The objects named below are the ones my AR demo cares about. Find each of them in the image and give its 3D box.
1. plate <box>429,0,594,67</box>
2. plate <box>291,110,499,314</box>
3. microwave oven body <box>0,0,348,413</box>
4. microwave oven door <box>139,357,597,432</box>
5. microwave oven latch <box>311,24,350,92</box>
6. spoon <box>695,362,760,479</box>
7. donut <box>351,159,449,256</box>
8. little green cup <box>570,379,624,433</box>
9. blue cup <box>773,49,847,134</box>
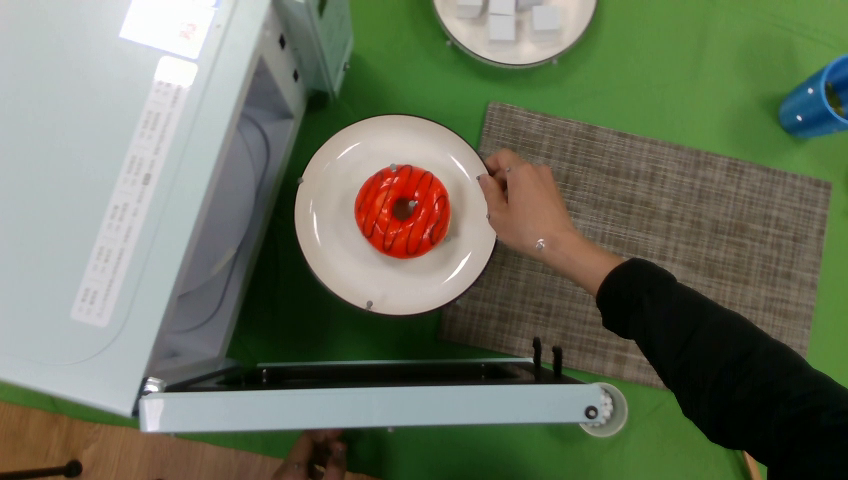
[{"bbox_3d":[0.106,-0.312,0.756,0.208,0.039,0.207,0,84,-3],"label":"plate"},{"bbox_3d":[-0.029,-0.028,0.621,0.209,0.038,0.208,0,86,-5],"label":"plate"},{"bbox_3d":[-0.296,-0.100,0.596,0.326,0.260,0.440,16,84,-2],"label":"microwave oven body"},{"bbox_3d":[-0.045,0.141,0.581,0.356,0.244,0.039,-1,83,-3],"label":"microwave oven door"},{"bbox_3d":[-0.111,-0.219,0.715,0.030,0.029,0.079,20,84,-1],"label":"microwave oven latch"},{"bbox_3d":[0.370,0.236,0.720,0.042,0.021,0.193,-23,87,-21],"label":"spoon"},{"bbox_3d":[-0.024,-0.032,0.611,0.099,0.048,0.099,0,88,-2],"label":"donut"},{"bbox_3d":[0.198,0.192,0.709,0.061,0.039,0.061,0,81,-3],"label":"little green cup"},{"bbox_3d":[0.479,-0.170,0.731,0.093,0.100,0.092,0,85,-3],"label":"blue cup"}]
